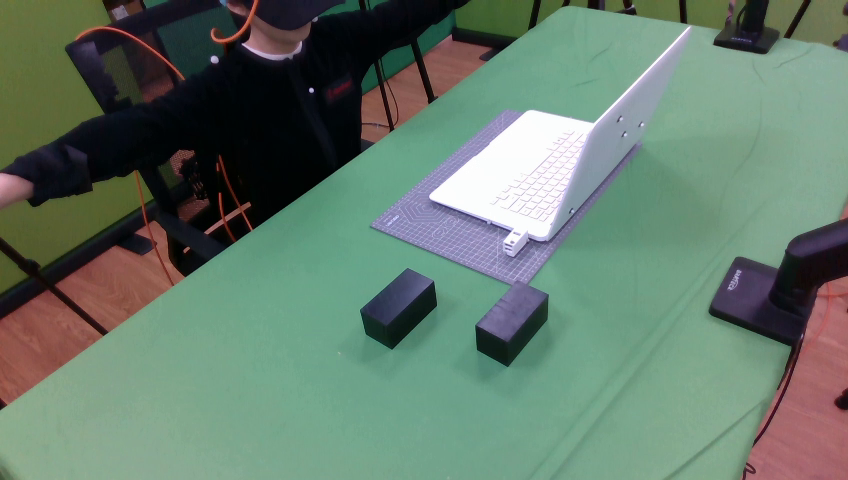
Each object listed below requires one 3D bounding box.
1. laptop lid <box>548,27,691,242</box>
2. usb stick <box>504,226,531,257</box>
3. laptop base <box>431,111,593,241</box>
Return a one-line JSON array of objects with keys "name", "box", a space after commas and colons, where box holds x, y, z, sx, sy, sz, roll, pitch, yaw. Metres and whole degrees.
[{"name": "laptop lid", "box": [0.310, -0.168, 0.950, 0.013, 0.242, 0.358, 33, 52, 20]}, {"name": "usb stick", "box": [0.149, -0.002, 0.940, 0.021, 0.027, 0.059, 22, 46, 32]}, {"name": "laptop base", "box": [0.207, -0.130, 1.100, 0.233, 0.023, 0.355, 20, 47, 33]}]
